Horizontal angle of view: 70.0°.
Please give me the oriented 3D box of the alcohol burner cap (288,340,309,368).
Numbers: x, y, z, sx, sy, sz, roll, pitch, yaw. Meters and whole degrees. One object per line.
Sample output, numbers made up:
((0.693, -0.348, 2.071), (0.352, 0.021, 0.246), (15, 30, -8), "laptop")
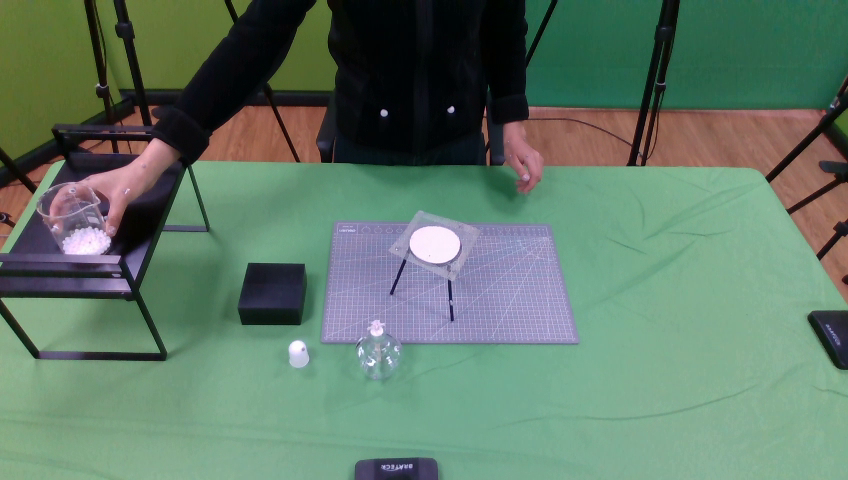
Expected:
((-0.207, 0.183, 0.991), (0.034, 0.048, 0.033), (2, 47, -2), "alcohol burner cap")

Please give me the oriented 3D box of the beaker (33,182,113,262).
((-0.499, -0.023, 0.878), (0.084, 0.101, 0.073), (-2, 47, -6), "beaker")

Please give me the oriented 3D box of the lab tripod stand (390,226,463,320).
((0.014, 0.053, 1.063), (0.148, 0.132, 0.147), (1, 48, -1), "lab tripod stand")

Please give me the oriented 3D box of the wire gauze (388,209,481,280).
((0.018, 0.002, 1.019), (0.125, 0.011, 0.121), (21, 49, 16), "wire gauze")

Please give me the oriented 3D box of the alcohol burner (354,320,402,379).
((-0.074, 0.169, 0.964), (0.078, 0.120, 0.077), (1, 46, 0), "alcohol burner")
